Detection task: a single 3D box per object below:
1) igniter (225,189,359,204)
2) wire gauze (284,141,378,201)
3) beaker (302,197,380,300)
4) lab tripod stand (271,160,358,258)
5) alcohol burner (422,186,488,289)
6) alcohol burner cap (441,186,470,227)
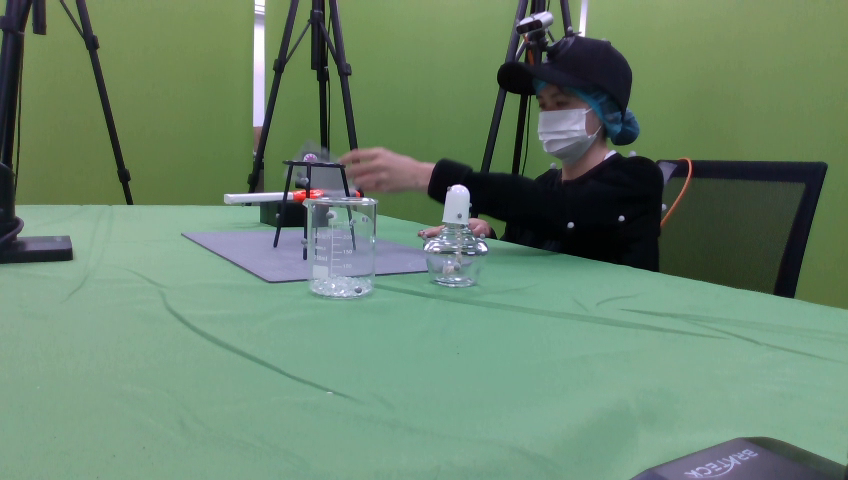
[{"bbox_3d":[-0.264,-0.089,1.239,0.278,0.025,0.057,-5,12,-32],"label":"igniter"},{"bbox_3d":[-0.167,-0.121,1.064,0.124,0.011,0.122,-21,-42,37],"label":"wire gauze"},{"bbox_3d":[-0.089,0.007,0.625,0.084,0.100,0.074,4,7,16],"label":"beaker"},{"bbox_3d":[-0.160,-0.048,0.876,0.148,0.131,0.148,3,5,0],"label":"lab tripod stand"},{"bbox_3d":[0.036,-0.004,0.705,0.078,0.119,0.078,0,7,0],"label":"alcohol burner"},{"bbox_3d":[0.038,-0.039,0.700,0.034,0.048,0.034,6,4,0],"label":"alcohol burner cap"}]
